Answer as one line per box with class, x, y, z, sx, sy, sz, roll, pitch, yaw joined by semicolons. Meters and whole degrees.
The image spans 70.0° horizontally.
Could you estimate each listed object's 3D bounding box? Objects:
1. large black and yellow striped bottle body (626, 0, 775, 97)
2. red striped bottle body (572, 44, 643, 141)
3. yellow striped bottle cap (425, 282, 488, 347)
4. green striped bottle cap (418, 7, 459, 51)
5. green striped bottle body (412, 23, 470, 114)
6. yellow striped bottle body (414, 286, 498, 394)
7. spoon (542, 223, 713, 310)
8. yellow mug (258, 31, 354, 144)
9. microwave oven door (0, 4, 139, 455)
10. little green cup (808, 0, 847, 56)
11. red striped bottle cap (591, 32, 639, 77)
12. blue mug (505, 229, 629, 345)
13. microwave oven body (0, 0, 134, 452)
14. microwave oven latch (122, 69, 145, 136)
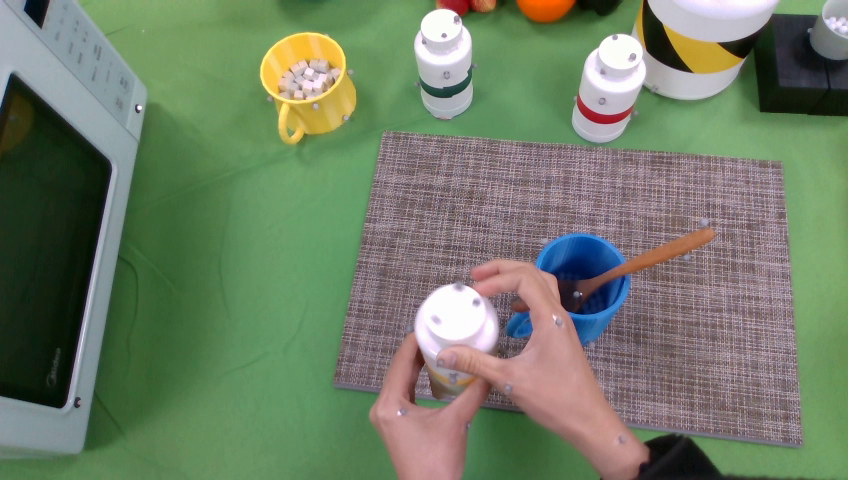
large black and yellow striped bottle body;0.297;-0.257;0.647;0.131;0.185;0.130;-2;68;5
red striped bottle body;0.197;-0.165;0.653;0.063;0.120;0.062;-3;66;7
yellow striped bottle cap;0.023;0.052;0.430;0.044;0.019;0.044;-3;60;6
green striped bottle cap;0.015;-0.221;0.635;0.044;0.020;0.044;-1;68;3
green striped bottle body;0.021;-0.201;0.683;0.063;0.120;0.062;-2;68;4
yellow striped bottle body;0.027;0.076;0.476;0.063;0.121;0.062;-2;62;5
spoon;0.166;0.030;0.534;0.022;0.194;0.041;7;64;-30
yellow mug;-0.143;-0.173;0.716;0.099;0.064;0.130;15;71;11
microwave oven door;-0.362;0.001;0.550;0.039;0.245;0.353;-3;68;5
little green cup;0.446;-0.229;0.646;0.061;0.039;0.061;-1;66;2
red striped bottle cap;0.191;-0.185;0.605;0.044;0.018;0.044;0;67;1
blue mug;0.127;0.056;0.574;0.116;0.106;0.081;-29;67;-7
microwave oven body;-0.508;-0.028;0.580;0.326;0.262;0.438;-3;68;4
microwave oven latch;-0.356;-0.163;0.726;0.030;0.030;0.078;-1;69;4
